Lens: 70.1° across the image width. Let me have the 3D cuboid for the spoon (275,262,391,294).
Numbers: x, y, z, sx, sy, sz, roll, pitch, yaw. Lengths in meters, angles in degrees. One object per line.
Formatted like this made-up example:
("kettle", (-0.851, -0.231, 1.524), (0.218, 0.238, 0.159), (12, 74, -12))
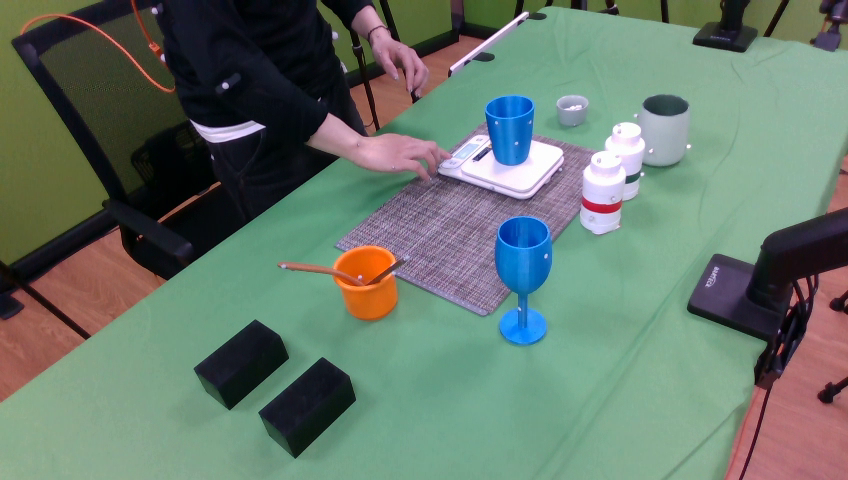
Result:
("spoon", (-0.120, 0.050, 0.830), (0.041, 0.195, 0.021), (32, 97, 45))

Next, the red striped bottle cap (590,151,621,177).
("red striped bottle cap", (0.273, -0.115, 0.907), (0.044, 0.018, 0.044), (-4, 44, 4))

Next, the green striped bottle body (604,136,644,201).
("green striped bottle body", (0.326, -0.128, 0.997), (0.063, 0.120, 0.063), (-4, 41, 4))

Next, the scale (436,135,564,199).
("scale", (0.137, -0.142, 1.101), (0.199, 0.032, 0.149), (22, 48, 30))

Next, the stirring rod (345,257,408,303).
("stirring rod", (-0.067, 0.057, 0.815), (0.014, 0.175, 0.006), (-24, 82, -37))

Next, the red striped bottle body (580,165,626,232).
("red striped bottle body", (0.278, -0.075, 0.942), (0.063, 0.120, 0.062), (-4, 41, 4))

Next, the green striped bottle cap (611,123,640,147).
("green striped bottle cap", (0.322, -0.168, 0.963), (0.044, 0.020, 0.044), (-3, 41, 4))

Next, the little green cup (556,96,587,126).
("little green cup", (0.295, -0.258, 1.214), (0.061, 0.039, 0.061), (-4, 42, 4))

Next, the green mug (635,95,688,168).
("green mug", (0.421, -0.201, 1.081), (0.092, 0.105, 0.125), (5, 42, 15))

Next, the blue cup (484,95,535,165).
("blue cup", (0.150, -0.188, 1.052), (0.092, 0.100, 0.092), (-6, 39, 5))

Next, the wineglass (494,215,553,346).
("wineglass", (0.127, 0.055, 0.770), (0.074, 0.173, 0.073), (-4, 40, 4))
